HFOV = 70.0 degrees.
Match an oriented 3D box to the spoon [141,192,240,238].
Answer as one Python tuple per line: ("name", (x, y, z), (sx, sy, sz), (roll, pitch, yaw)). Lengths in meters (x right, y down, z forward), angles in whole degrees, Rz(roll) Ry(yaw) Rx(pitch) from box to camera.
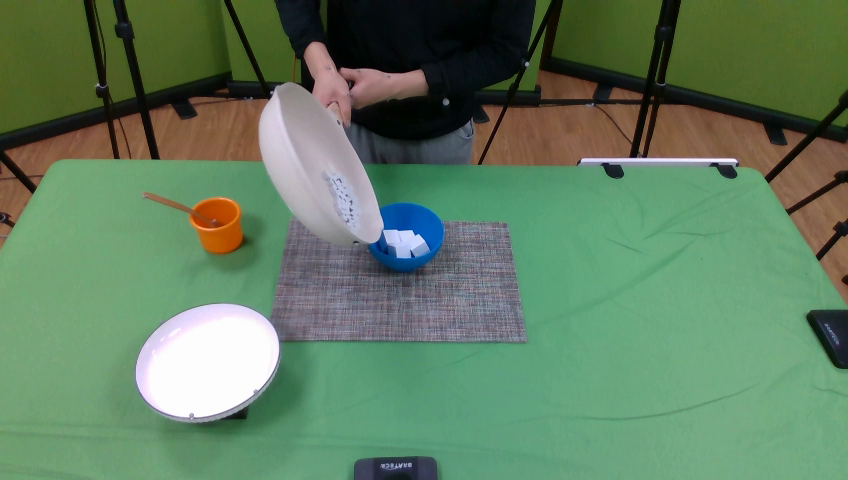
("spoon", (-0.428, -0.048, 1.123), (0.021, 0.195, 0.041), (-39, 44, 20))

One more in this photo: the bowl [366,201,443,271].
("bowl", (-0.041, 0.006, 1.144), (0.151, 0.077, 0.150), (2, 46, -2))

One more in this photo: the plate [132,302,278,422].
("plate", (-0.325, 0.186, 0.916), (0.208, 0.039, 0.206), (3, 44, -2))

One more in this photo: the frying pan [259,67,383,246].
("frying pan", (-0.170, -0.184, 1.078), (0.102, 0.309, 0.485), (-20, 38, 19))
